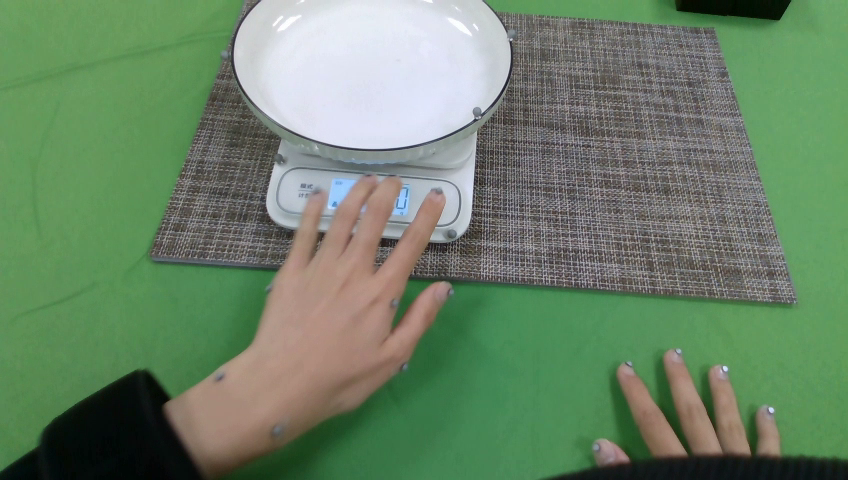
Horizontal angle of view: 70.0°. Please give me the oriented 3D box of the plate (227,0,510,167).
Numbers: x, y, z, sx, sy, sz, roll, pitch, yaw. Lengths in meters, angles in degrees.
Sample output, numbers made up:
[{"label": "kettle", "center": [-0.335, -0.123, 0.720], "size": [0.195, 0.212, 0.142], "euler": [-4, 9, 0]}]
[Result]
[{"label": "plate", "center": [-0.040, -0.132, 0.462], "size": [0.208, 0.039, 0.205], "euler": [2, 56, -2]}]

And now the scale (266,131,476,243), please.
[{"label": "scale", "center": [-0.033, -0.091, 0.475], "size": [0.148, 0.032, 0.199], "euler": [5, 57, 1]}]
